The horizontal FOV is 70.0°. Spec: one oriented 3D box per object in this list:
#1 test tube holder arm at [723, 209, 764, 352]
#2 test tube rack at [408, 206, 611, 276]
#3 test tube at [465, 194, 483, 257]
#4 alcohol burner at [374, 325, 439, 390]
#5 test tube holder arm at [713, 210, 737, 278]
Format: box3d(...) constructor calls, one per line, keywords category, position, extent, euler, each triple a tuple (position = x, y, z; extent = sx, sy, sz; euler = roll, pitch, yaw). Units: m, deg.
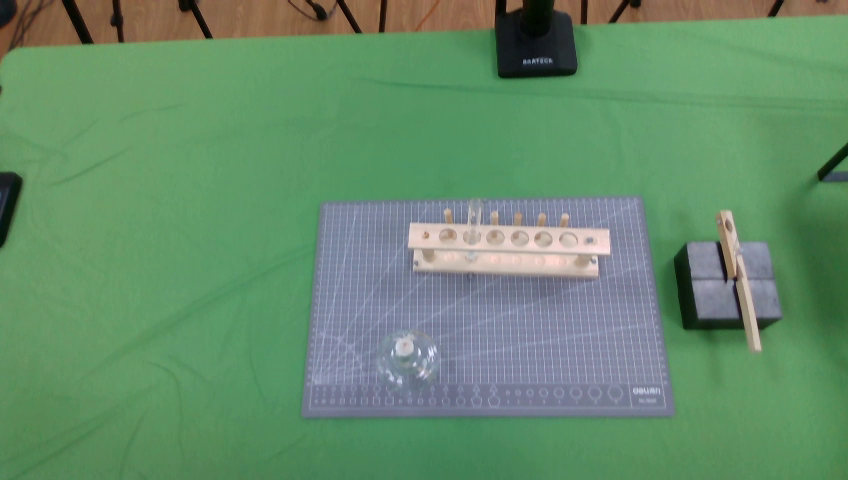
box3d(category="test tube holder arm", position=(0.382, 0.046, 0.731), extent=(0.013, 0.015, 0.177), euler=(-3, 68, -3))
box3d(category="test tube rack", position=(0.106, -0.004, 0.776), extent=(0.242, 0.086, 0.066), euler=(2, 68, 4))
box3d(category="test tube", position=(0.059, -0.014, 0.729), extent=(0.017, 0.151, 0.017), euler=(-1, 66, 2))
box3d(category="alcohol burner", position=(-0.021, 0.133, 0.708), extent=(0.078, 0.120, 0.077), euler=(0, 66, 1))
box3d(category="test tube holder arm", position=(0.373, 0.004, 0.747), extent=(0.010, 0.015, 0.087), euler=(-2, 68, -2))
